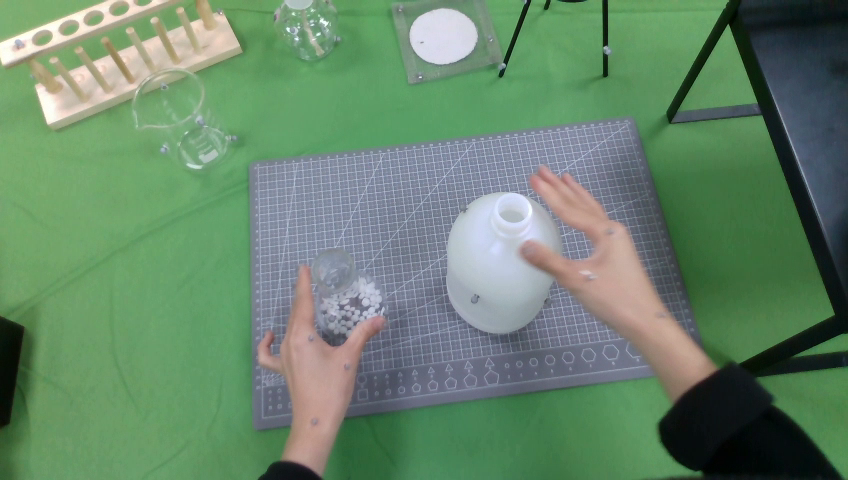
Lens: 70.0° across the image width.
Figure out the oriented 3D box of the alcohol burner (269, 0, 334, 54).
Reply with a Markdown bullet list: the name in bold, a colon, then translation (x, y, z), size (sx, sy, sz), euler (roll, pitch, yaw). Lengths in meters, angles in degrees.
- **alcohol burner**: translation (-0.147, -0.277, 0.712), size (0.078, 0.120, 0.077), euler (0, 66, 0)

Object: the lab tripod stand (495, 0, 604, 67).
- **lab tripod stand**: translation (0.153, -0.268, 0.692), size (0.148, 0.132, 0.147), euler (0, 67, 0)

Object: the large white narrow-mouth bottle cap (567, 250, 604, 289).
- **large white narrow-mouth bottle cap**: translation (0.168, 0.032, 0.632), size (0.038, 0.024, 0.037), euler (-1, 67, 3)

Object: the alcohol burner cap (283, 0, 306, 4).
- **alcohol burner cap**: translation (-0.148, -0.293, 0.679), size (0.034, 0.048, 0.033), euler (3, 66, -7)

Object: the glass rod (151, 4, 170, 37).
- **glass rod**: translation (-0.313, -0.296, 0.665), size (0.008, 0.201, 0.008), euler (1, 65, -3)

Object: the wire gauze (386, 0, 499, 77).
- **wire gauze**: translation (0.023, -0.267, 0.761), size (0.121, 0.011, 0.124), euler (-11, 68, -5)

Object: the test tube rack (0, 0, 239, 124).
- **test tube rack**: translation (-0.355, -0.232, 0.712), size (0.242, 0.086, 0.066), euler (-26, 70, -9)

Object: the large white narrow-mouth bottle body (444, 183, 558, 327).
- **large white narrow-mouth bottle body**: translation (0.068, 0.008, 0.548), size (0.102, 0.196, 0.101), euler (-1, 66, 3)

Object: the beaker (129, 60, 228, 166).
- **beaker**: translation (-0.265, -0.131, 0.663), size (0.073, 0.101, 0.084), euler (38, 74, 16)

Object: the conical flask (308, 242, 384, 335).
- **conical flask**: translation (-0.080, 0.041, 0.575), size (0.075, 0.123, 0.075), euler (0, 67, 1)
